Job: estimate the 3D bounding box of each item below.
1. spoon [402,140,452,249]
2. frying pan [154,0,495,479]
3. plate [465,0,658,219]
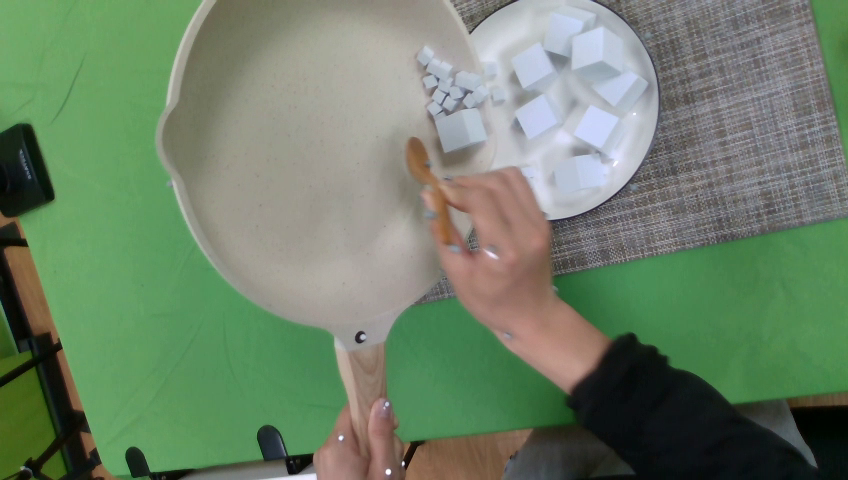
[{"bbox_3d":[0.003,-0.039,0.453,0.021,0.192,0.042,-26,114,1],"label":"spoon"},{"bbox_3d":[-0.058,0.028,0.492,0.102,0.308,0.488,0,96,49],"label":"frying pan"},{"bbox_3d":[0.114,-0.124,0.579,0.206,0.039,0.208,5,102,23],"label":"plate"}]
